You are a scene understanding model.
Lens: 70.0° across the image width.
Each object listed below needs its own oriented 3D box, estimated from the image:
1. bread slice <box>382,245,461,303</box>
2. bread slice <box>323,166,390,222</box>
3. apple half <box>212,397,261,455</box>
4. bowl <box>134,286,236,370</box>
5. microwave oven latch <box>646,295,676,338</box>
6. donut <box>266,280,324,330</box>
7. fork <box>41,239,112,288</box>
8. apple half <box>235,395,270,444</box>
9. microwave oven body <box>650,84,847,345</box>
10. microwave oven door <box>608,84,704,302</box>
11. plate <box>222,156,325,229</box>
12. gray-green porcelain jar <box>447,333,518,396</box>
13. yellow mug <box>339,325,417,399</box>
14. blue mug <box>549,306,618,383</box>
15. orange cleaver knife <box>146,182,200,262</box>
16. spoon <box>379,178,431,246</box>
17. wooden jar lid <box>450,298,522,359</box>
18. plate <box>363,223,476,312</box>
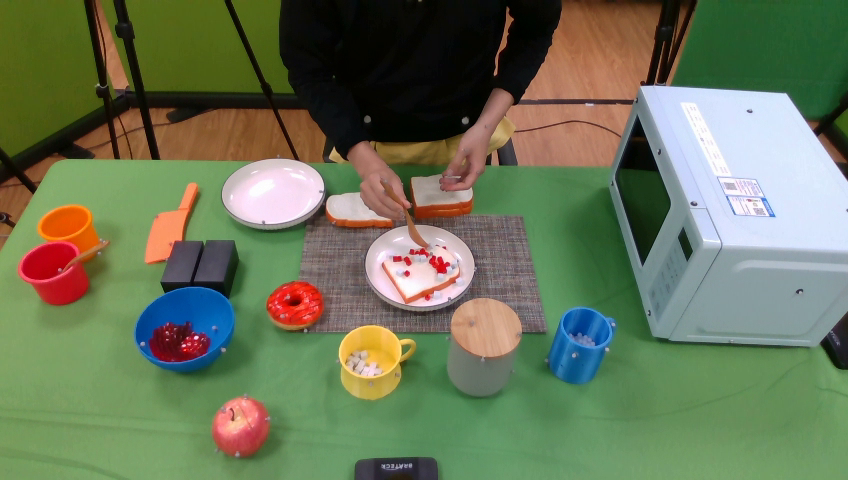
[{"bbox_3d":[0.000,0.054,1.128,0.131,0.019,0.104,-20,51,-21],"label":"bread slice"},{"bbox_3d":[-0.140,-0.092,1.224,0.134,0.018,0.106,-19,51,6],"label":"bread slice"},{"bbox_3d":[-0.276,0.276,0.877,0.053,0.075,0.080,-29,58,-20],"label":"apple half"},{"bbox_3d":[-0.377,0.156,0.981,0.151,0.077,0.150,2,46,-2],"label":"bowl"},{"bbox_3d":[0.413,0.133,1.060,0.030,0.029,0.078,4,46,1],"label":"microwave oven latch"},{"bbox_3d":[-0.223,0.112,1.051,0.099,0.048,0.098,2,46,-2],"label":"donut"},{"bbox_3d":[-0.591,0.040,1.028,0.207,0.019,0.028,-27,37,29],"label":"fork"},{"bbox_3d":[-0.245,0.260,0.893,0.033,0.082,0.081,-29,55,-22],"label":"apple half"},{"bbox_3d":[0.569,-0.054,1.116,0.326,0.261,0.439,2,46,-1],"label":"microwave oven body"},{"bbox_3d":[0.424,-0.096,1.138,0.039,0.245,0.353,2,47,-1],"label":"microwave oven door"},{"bbox_3d":[-0.308,-0.094,1.251,0.209,0.038,0.208,2,46,-2],"label":"plate"},{"bbox_3d":[0.091,0.178,0.960,0.106,0.127,0.105,2,46,-2],"label":"gray-green porcelain jar"},{"bbox_3d":[-0.072,0.191,0.978,0.131,0.064,0.099,-17,49,-20],"label":"yellow mug"},{"bbox_3d":[0.269,0.167,0.997,0.116,0.106,0.082,-19,50,-21],"label":"blue mug"},{"bbox_3d":[-0.494,-0.039,1.198,0.077,0.012,0.210,-3,48,2],"label":"orange cleaver knife"},{"bbox_3d":[-0.034,-0.048,1.081,0.041,0.195,0.021,27,67,42],"label":"spoon"},{"bbox_3d":[0.093,0.135,0.914,0.108,0.021,0.107,2,48,-3],"label":"wooden jar lid"},{"bbox_3d":[-0.009,0.054,1.126,0.208,0.039,0.206,2,46,-2],"label":"plate"}]
